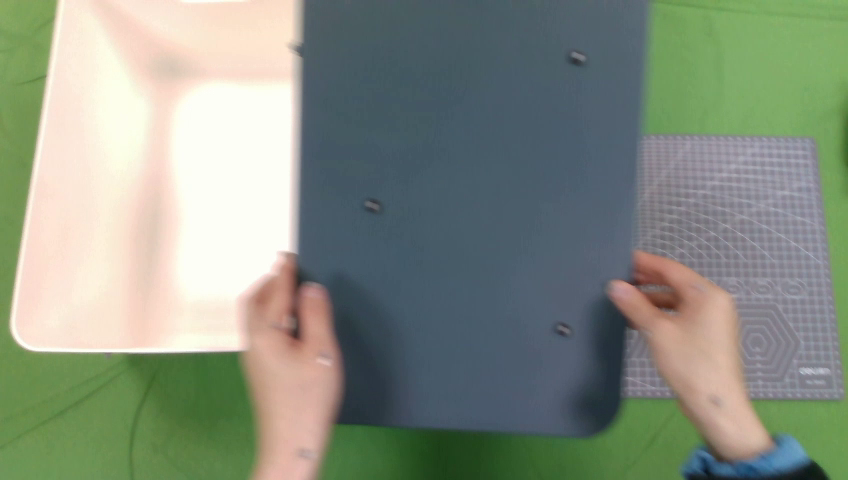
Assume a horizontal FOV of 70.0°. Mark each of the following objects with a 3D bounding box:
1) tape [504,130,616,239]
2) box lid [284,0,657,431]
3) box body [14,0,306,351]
[{"bbox_3d":[0.149,-0.059,0.665,0.117,0.053,0.116,0,78,1],"label":"tape"},{"bbox_3d":[0.035,-0.040,0.463,0.263,0.015,0.371,4,94,-4],"label":"box lid"},{"bbox_3d":[-0.217,-0.068,0.613,0.254,0.161,0.362,-1,78,0],"label":"box body"}]
